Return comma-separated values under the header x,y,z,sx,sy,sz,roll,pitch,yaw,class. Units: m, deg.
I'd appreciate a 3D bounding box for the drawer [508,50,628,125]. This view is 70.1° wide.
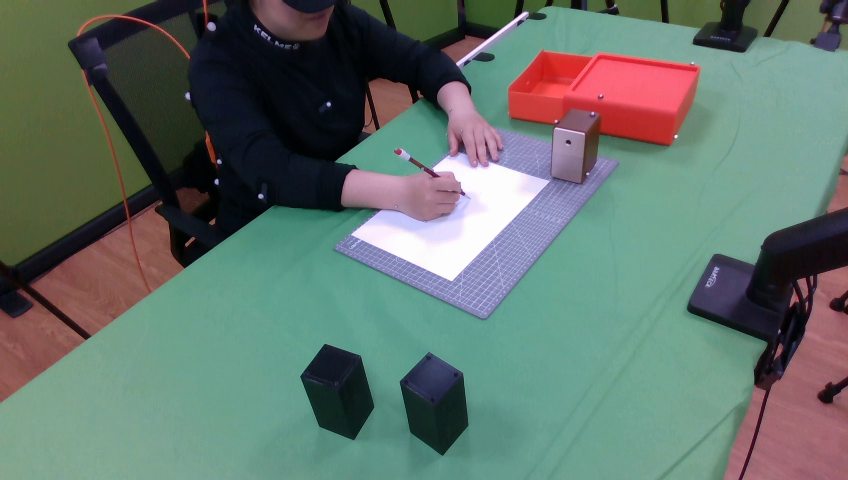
x,y,z,sx,sy,sz,roll,pitch,yaw,class
0.305,-0.310,1.246,0.210,0.073,0.195,16,45,25,drawer

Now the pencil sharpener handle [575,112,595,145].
x,y,z,sx,sy,sz,roll,pitch,yaw,class
0.290,-0.203,1.077,0.036,0.068,0.031,19,47,26,pencil sharpener handle

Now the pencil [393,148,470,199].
x,y,z,sx,sy,sz,roll,pitch,yaw,class
0.018,-0.104,0.984,0.012,0.196,0.012,-20,58,35,pencil

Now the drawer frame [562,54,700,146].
x,y,z,sx,sy,sz,roll,pitch,yaw,class
0.407,-0.282,1.195,0.212,0.083,0.202,17,45,25,drawer frame

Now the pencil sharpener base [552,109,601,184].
x,y,z,sx,sy,sz,roll,pitch,yaw,class
0.265,-0.163,1.053,0.061,0.107,0.077,17,46,27,pencil sharpener base
